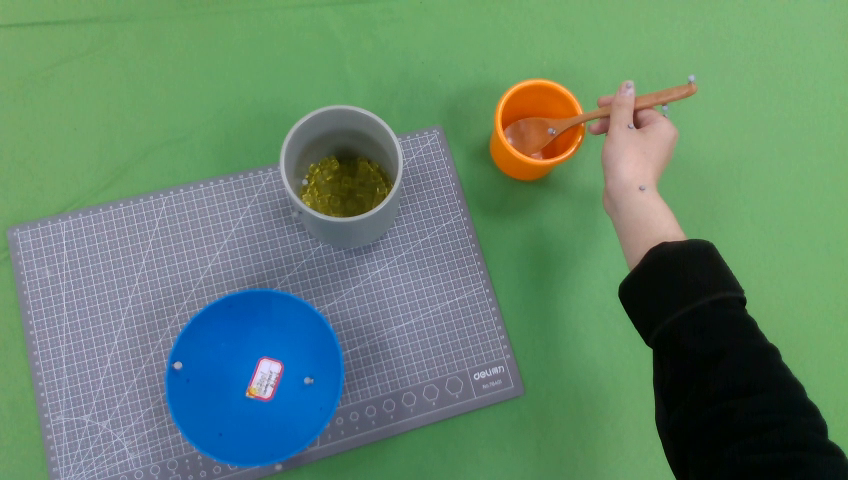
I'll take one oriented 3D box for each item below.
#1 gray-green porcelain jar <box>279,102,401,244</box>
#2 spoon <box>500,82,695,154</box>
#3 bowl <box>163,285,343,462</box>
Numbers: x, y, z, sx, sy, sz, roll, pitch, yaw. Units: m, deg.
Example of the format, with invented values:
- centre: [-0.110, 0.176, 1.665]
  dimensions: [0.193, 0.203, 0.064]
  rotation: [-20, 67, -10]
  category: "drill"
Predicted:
- centre: [-0.076, -0.056, 0.574]
  dimensions: [0.106, 0.127, 0.105]
  rotation: [1, 78, -5]
  category: "gray-green porcelain jar"
- centre: [0.160, -0.120, 0.587]
  dimensions: [0.022, 0.193, 0.041]
  rotation: [16, 70, -47]
  category: "spoon"
- centre: [-0.148, 0.120, 0.556]
  dimensions: [0.151, 0.077, 0.150]
  rotation: [1, 78, -6]
  category: "bowl"
